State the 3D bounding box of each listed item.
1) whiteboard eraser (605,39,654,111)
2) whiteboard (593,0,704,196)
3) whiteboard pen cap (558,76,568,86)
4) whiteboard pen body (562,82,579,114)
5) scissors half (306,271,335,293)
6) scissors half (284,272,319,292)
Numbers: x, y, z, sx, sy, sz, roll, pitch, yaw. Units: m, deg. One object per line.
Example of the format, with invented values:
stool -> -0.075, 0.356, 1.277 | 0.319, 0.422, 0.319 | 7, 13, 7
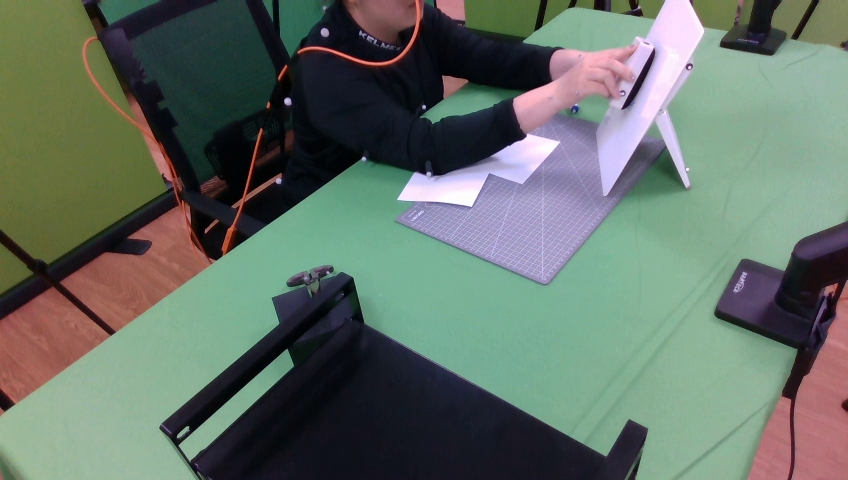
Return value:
whiteboard eraser -> 0.346, -0.275, 1.013 | 0.042, 0.112, 0.055 | 21, 31, -1
whiteboard -> 0.421, -0.227, 1.010 | 0.144, 0.305, 0.216 | 17, 41, -3
whiteboard pen cap -> 0.310, -0.350, 1.340 | 0.018, 0.018, 0.033 | -6, 40, 2
whiteboard pen body -> 0.311, -0.311, 1.298 | 0.017, 0.017, 0.140 | -5, 40, 3
scissors half -> -0.152, 0.061, 0.872 | 0.040, 0.013, 0.175 | -4, 6, -4
scissors half -> -0.172, 0.063, 0.868 | 0.040, 0.013, 0.174 | -11, 7, -21
